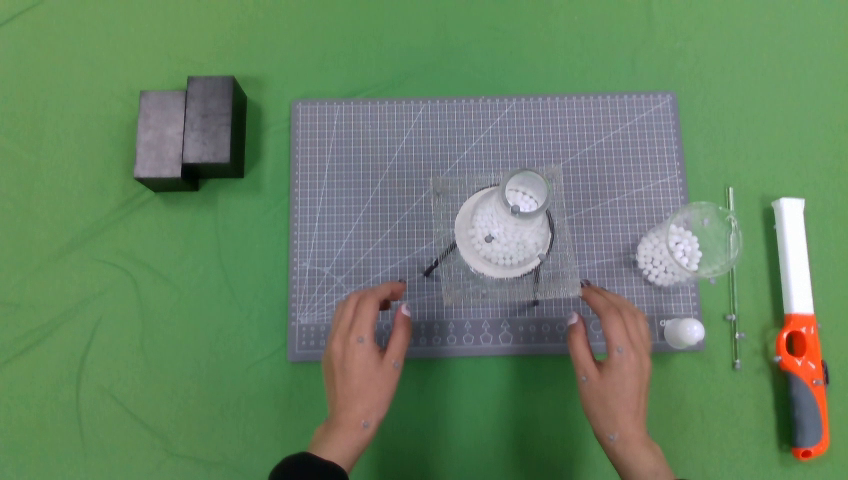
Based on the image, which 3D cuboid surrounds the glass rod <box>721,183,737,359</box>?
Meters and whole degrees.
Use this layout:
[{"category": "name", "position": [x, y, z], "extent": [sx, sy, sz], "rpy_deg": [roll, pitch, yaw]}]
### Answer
[{"category": "glass rod", "position": [0.340, 0.032, 0.673], "extent": [0.008, 0.008, 0.199], "rpy_deg": [3, 79, 0]}]

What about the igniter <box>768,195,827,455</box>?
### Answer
[{"category": "igniter", "position": [0.400, 0.087, 0.652], "extent": [0.057, 0.025, 0.275], "rpy_deg": [3, 79, -10]}]

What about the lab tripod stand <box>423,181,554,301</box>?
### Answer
[{"category": "lab tripod stand", "position": [0.069, 0.005, 0.609], "extent": [0.148, 0.132, 0.148], "rpy_deg": [0, 80, 0]}]

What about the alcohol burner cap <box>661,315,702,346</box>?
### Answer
[{"category": "alcohol burner cap", "position": [0.274, 0.094, 0.639], "extent": [0.034, 0.048, 0.033], "rpy_deg": [0, 77, 0]}]

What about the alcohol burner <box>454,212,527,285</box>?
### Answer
[{"category": "alcohol burner", "position": [0.069, 0.005, 0.619], "extent": [0.078, 0.119, 0.077], "rpy_deg": [0, 76, 1]}]

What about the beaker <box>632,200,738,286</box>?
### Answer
[{"category": "beaker", "position": [0.267, 0.005, 0.628], "extent": [0.084, 0.100, 0.073], "rpy_deg": [-38, 81, -8]}]

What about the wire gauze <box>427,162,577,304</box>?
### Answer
[{"category": "wire gauze", "position": [0.070, -0.006, 0.544], "extent": [0.125, 0.011, 0.121], "rpy_deg": [-5, 81, -4]}]

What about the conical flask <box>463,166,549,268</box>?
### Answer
[{"category": "conical flask", "position": [0.071, -0.023, 0.487], "extent": [0.075, 0.122, 0.075], "rpy_deg": [0, 78, 1]}]
